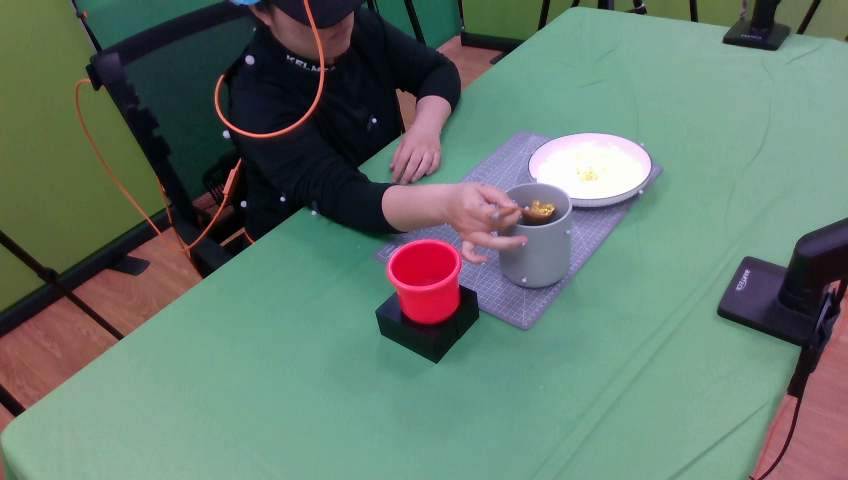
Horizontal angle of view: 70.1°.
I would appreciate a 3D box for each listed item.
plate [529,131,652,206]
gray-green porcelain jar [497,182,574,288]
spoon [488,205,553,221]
[{"bbox_3d":[0.287,-0.121,1.056,0.207,0.039,0.206,-5,40,5],"label":"plate"},{"bbox_3d":[0.160,-0.003,0.869,0.106,0.127,0.105,-5,40,5],"label":"gray-green porcelain jar"},{"bbox_3d":[0.126,-0.037,0.801,0.041,0.021,0.195,12,6,30],"label":"spoon"}]
